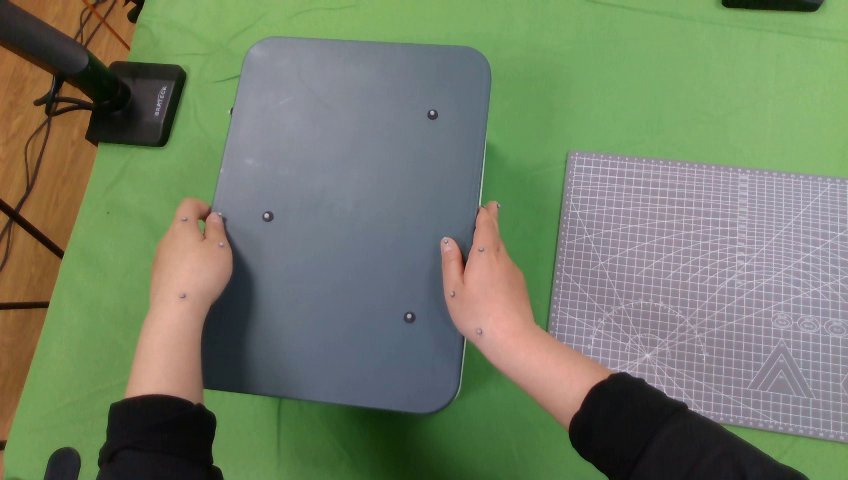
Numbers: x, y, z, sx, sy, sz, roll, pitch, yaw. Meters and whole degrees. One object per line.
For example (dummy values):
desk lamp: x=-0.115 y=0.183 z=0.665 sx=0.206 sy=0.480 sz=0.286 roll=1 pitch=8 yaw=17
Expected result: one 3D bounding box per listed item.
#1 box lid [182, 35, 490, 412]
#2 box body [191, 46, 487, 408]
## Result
box lid: x=-0.079 y=-0.034 z=0.591 sx=0.263 sy=0.015 sz=0.369 roll=5 pitch=76 yaw=6
box body: x=-0.068 y=-0.009 z=0.668 sx=0.254 sy=0.161 sz=0.362 roll=4 pitch=74 yaw=8
